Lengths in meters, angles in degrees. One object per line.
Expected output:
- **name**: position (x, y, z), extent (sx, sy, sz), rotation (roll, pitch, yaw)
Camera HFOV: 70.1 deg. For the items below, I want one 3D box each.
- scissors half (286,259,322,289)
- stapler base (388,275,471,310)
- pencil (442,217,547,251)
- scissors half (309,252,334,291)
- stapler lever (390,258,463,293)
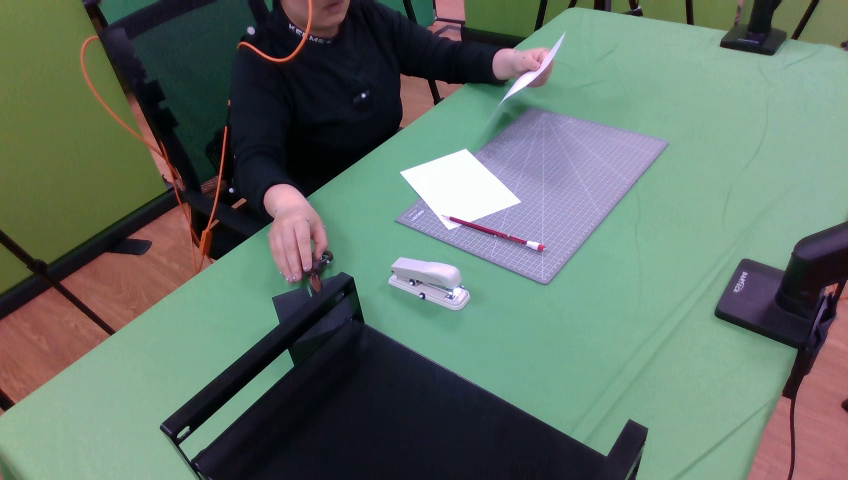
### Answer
- **scissors half**: position (-0.175, 0.053, 0.901), extent (0.040, 0.013, 0.174), rotation (-27, 18, -19)
- **stapler base**: position (0.007, 0.066, 0.897), extent (0.129, 0.024, 0.041), rotation (17, 43, 29)
- **pencil**: position (0.110, -0.012, 0.979), extent (0.192, 0.012, 0.012), rotation (18, 46, 30)
- **scissors half**: position (-0.156, 0.046, 0.905), extent (0.040, 0.013, 0.174), rotation (-16, 16, -1)
- **stapler lever**: position (0.002, 0.046, 0.881), extent (0.117, 0.040, 0.027), rotation (17, 44, 29)
